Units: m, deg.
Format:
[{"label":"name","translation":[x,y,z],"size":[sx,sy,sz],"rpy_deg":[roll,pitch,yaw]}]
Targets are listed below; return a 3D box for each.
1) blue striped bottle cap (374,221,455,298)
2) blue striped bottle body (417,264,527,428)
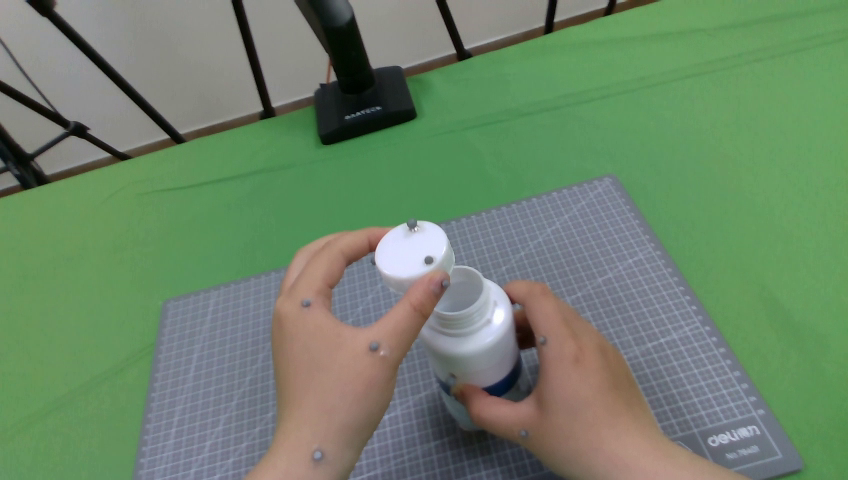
[{"label":"blue striped bottle cap","translation":[-0.005,0.010,0.346],"size":[0.044,0.021,0.044],"rpy_deg":[-8,44,8]},{"label":"blue striped bottle body","translation":[0.033,0.069,0.402],"size":[0.063,0.122,0.062],"rpy_deg":[-8,45,9]}]
